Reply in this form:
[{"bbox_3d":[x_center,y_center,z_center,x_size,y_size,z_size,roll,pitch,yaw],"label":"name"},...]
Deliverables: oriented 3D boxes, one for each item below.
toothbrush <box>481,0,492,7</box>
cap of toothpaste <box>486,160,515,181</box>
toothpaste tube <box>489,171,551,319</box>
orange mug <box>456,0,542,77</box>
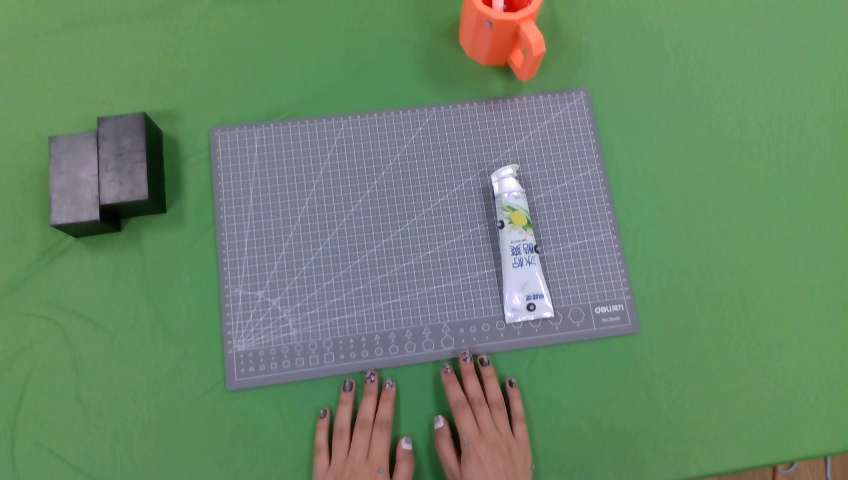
[{"bbox_3d":[0.073,-0.298,0.665,0.014,0.183,0.016,-16,42,-22],"label":"toothbrush"},{"bbox_3d":[0.088,-0.078,0.685,0.037,0.037,0.011,-20,76,-8],"label":"cap of toothpaste"},{"bbox_3d":[0.100,0.002,0.674,0.055,0.034,0.164,-10,82,2],"label":"toothpaste tube"},{"bbox_3d":[0.091,-0.255,0.697,0.083,0.101,0.125,-29,75,-9],"label":"orange mug"}]
